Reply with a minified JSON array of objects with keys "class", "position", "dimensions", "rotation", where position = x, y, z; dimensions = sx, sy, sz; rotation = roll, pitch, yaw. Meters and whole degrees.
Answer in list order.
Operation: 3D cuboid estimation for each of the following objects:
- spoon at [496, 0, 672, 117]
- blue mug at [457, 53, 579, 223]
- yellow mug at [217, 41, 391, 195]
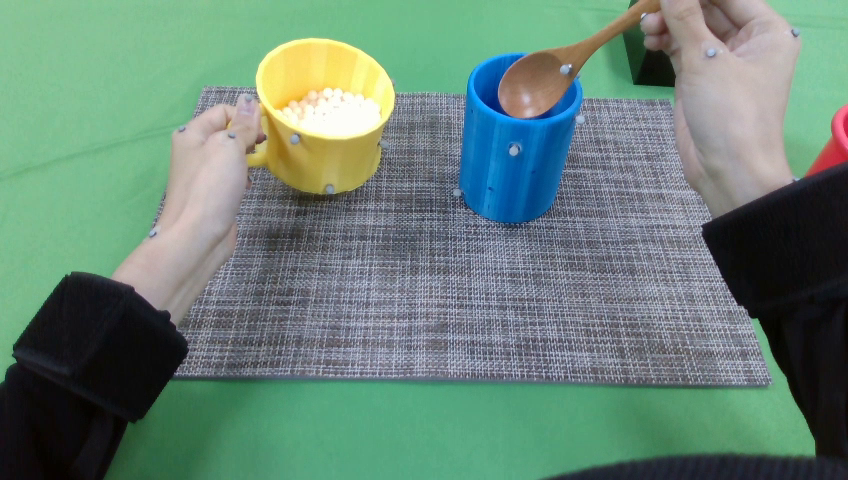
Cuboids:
[{"class":"spoon","position":[0.116,-0.129,0.369],"dimensions":[0.021,0.193,0.041],"rotation":[-27,91,-40]},{"class":"blue mug","position":[0.081,-0.086,0.479],"dimensions":[0.081,0.107,0.116],"rotation":[38,60,25]},{"class":"yellow mug","position":[-0.092,-0.088,0.456],"dimensions":[0.131,0.064,0.099],"rotation":[-25,68,-27]}]
